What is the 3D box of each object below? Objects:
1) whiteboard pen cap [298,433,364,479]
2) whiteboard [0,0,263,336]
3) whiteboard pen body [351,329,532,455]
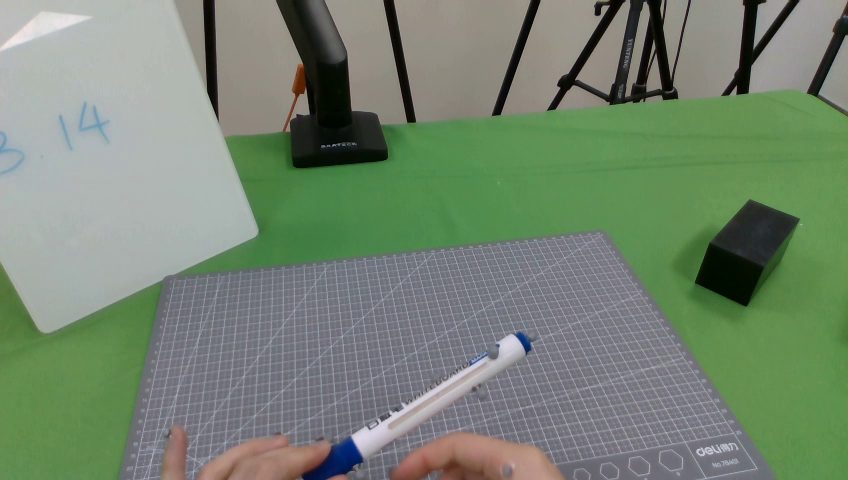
[{"bbox_3d":[-0.049,0.118,0.323,0.033,0.018,0.018,-29,45,-14],"label":"whiteboard pen cap"},{"bbox_3d":[-0.326,-0.109,0.572,0.217,0.307,0.142,-30,28,-32],"label":"whiteboard"},{"bbox_3d":[0.001,0.090,0.339,0.141,0.017,0.017,-29,45,-14],"label":"whiteboard pen body"}]
